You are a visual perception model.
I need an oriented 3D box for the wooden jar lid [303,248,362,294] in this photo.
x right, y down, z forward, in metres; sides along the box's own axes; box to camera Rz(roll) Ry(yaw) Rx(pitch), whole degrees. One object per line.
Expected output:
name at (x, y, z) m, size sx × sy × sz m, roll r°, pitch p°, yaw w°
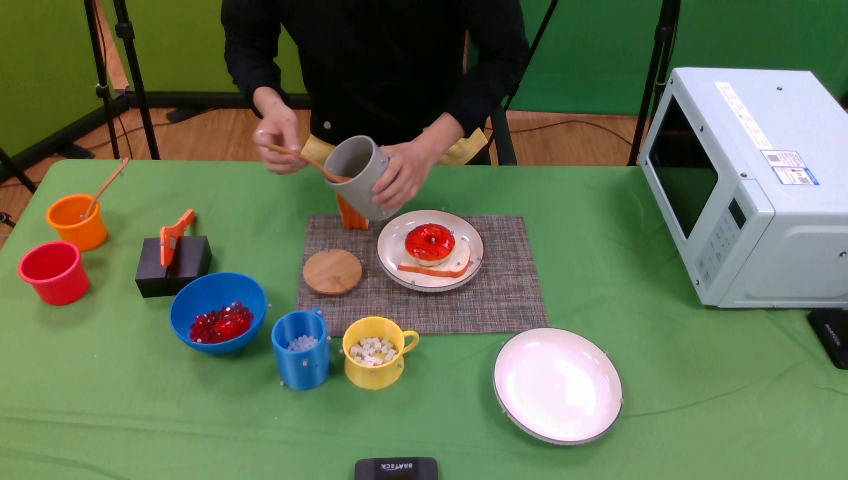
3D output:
wooden jar lid at (-0.169, 0.060, 1.122) m, size 0.108 × 0.021 × 0.107 m, roll 2°, pitch 45°, yaw -2°

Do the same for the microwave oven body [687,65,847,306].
microwave oven body at (0.669, -0.111, 1.176) m, size 0.326 × 0.261 × 0.439 m, roll 0°, pitch 46°, yaw -3°

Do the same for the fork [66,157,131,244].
fork at (-0.608, -0.074, 1.133) m, size 0.207 × 0.019 × 0.028 m, roll -52°, pitch 49°, yaw 10°

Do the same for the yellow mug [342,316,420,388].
yellow mug at (-0.068, 0.177, 0.990) m, size 0.131 × 0.064 × 0.099 m, roll -15°, pitch 50°, yaw -20°

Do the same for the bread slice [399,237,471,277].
bread slice at (0.025, 0.025, 1.161) m, size 0.131 × 0.019 × 0.104 m, roll 7°, pitch 47°, yaw 7°

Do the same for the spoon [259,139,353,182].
spoon at (-0.180, -0.124, 0.968) m, size 0.041 × 0.195 × 0.021 m, roll 37°, pitch 98°, yaw 45°

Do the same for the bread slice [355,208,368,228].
bread slice at (-0.126, -0.104, 1.207) m, size 0.018 × 0.135 × 0.106 m, roll 0°, pitch 48°, yaw 6°

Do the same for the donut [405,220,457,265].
donut at (0.014, 0.004, 1.136) m, size 0.099 × 0.048 × 0.098 m, roll 0°, pitch 46°, yaw 0°

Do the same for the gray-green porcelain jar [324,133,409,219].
gray-green porcelain jar at (-0.094, -0.105, 1.049) m, size 0.106 × 0.127 × 0.105 m, roll -17°, pitch 52°, yaw 23°

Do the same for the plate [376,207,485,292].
plate at (0.012, 0.021, 1.159) m, size 0.209 × 0.038 × 0.208 m, roll 2°, pitch 47°, yaw -2°

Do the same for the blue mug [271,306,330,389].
blue mug at (-0.188, 0.163, 0.969) m, size 0.082 × 0.106 × 0.116 m, roll 15°, pitch 47°, yaw 10°

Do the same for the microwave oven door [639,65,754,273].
microwave oven door at (0.522, -0.147, 1.192) m, size 0.039 × 0.245 × 0.353 m, roll 0°, pitch 47°, yaw -3°

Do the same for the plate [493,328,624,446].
plate at (0.213, 0.236, 0.974) m, size 0.208 × 0.039 × 0.206 m, roll 2°, pitch 46°, yaw -2°

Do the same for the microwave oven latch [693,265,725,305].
microwave oven latch at (0.523, 0.082, 1.115) m, size 0.030 × 0.029 × 0.078 m, roll 2°, pitch 46°, yaw -1°

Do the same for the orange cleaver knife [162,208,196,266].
orange cleaver knife at (-0.454, -0.010, 1.129) m, size 0.012 × 0.077 × 0.210 m, roll -1°, pitch 17°, yaw -6°

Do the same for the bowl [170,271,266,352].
bowl at (-0.333, 0.132, 1.006) m, size 0.151 × 0.077 × 0.150 m, roll 2°, pitch 46°, yaw -2°
